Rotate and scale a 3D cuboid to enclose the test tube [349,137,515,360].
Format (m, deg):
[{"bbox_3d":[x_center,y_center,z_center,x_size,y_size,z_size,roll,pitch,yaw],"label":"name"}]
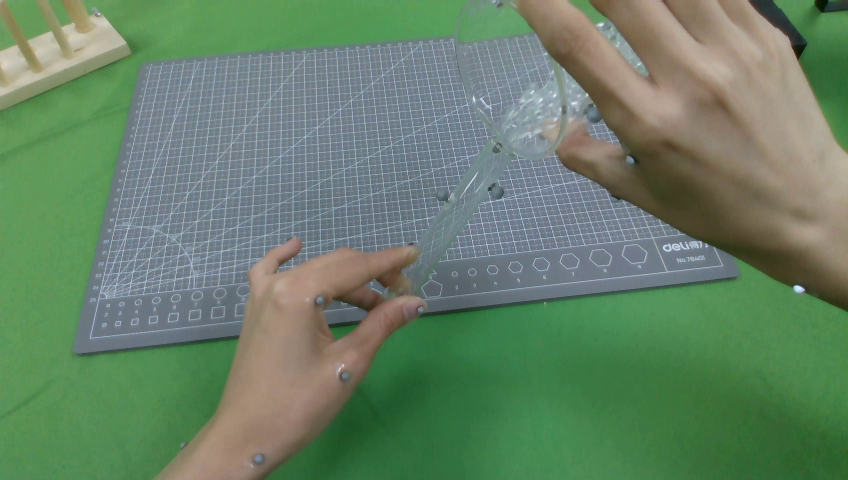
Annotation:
[{"bbox_3d":[0.000,0.010,0.325,0.017,0.150,0.017,29,23,-13],"label":"test tube"}]

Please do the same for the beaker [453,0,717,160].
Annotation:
[{"bbox_3d":[0.075,-0.090,0.280,0.100,0.084,0.073,-31,62,-18],"label":"beaker"}]

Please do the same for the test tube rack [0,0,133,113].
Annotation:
[{"bbox_3d":[-0.391,-0.158,0.513,0.242,0.086,0.066,-34,60,-21],"label":"test tube rack"}]
